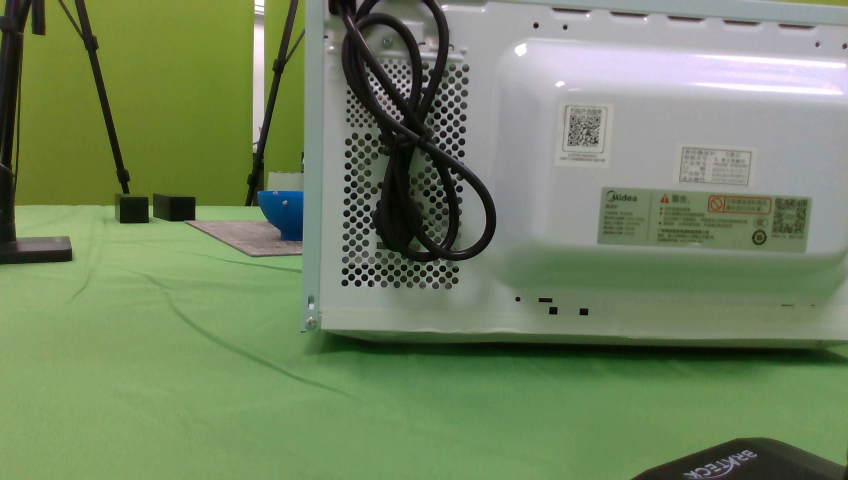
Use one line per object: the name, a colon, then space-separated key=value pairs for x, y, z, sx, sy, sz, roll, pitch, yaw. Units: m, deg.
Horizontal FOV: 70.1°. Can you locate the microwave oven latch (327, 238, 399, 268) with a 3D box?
microwave oven latch: x=-0.069 y=0.015 z=0.694 sx=0.079 sy=0.029 sz=0.030 roll=3 pitch=7 yaw=-3

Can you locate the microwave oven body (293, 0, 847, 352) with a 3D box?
microwave oven body: x=0.122 y=-0.055 z=0.550 sx=0.442 sy=0.260 sz=0.325 roll=3 pitch=7 yaw=-5

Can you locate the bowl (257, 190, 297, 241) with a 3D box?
bowl: x=-0.207 y=-0.041 z=1.027 sx=0.151 sy=0.077 sz=0.151 roll=3 pitch=8 yaw=0

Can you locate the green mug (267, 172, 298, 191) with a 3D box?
green mug: x=-0.277 y=-0.090 z=1.276 sx=0.092 sy=0.105 sz=0.126 roll=6 pitch=8 yaw=25

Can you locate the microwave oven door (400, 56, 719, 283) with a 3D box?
microwave oven door: x=0.155 y=-0.077 z=0.697 sx=0.356 sy=0.243 sz=0.039 roll=2 pitch=8 yaw=-5
